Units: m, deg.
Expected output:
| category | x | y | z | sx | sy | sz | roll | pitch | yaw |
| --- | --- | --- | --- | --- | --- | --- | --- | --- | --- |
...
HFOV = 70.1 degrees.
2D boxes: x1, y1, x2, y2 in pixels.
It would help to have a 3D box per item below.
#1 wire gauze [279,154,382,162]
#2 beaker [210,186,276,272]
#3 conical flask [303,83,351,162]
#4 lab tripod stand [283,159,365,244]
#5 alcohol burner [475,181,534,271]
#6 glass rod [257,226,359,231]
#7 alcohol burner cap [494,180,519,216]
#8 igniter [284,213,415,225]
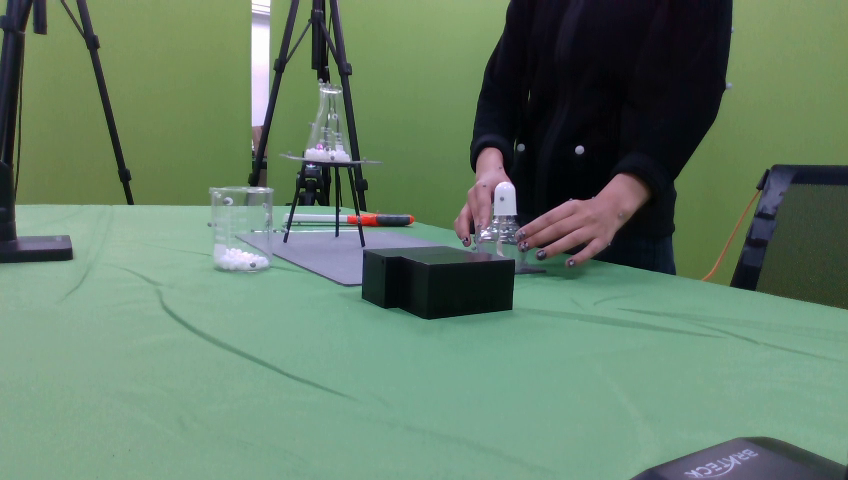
| category | x | y | z | sx | sy | sz | roll | pitch | yaw |
| --- | --- | --- | --- | --- | --- | --- | --- | --- | --- |
| wire gauze | -0.149 | -0.128 | 0.974 | 0.124 | 0.011 | 0.122 | 6 | 6 | 41 |
| beaker | -0.224 | -0.014 | 0.738 | 0.084 | 0.100 | 0.074 | 4 | 7 | 16 |
| conical flask | -0.151 | -0.186 | 0.963 | 0.075 | 0.122 | 0.075 | 4 | 6 | 0 |
| lab tripod stand | -0.151 | -0.063 | 0.983 | 0.148 | 0.131 | 0.148 | 4 | 7 | 0 |
| alcohol burner | 0.108 | -0.020 | 0.803 | 0.078 | 0.119 | 0.078 | 3 | 6 | 0 |
| glass rod | -0.216 | -0.022 | 1.151 | 0.201 | 0.008 | 0.008 | -2 | 8 | -28 |
| alcohol burner cap | 0.108 | -0.055 | 0.799 | 0.034 | 0.048 | 0.034 | -2 | 3 | 0 |
| igniter | -0.154 | -0.045 | 1.282 | 0.278 | 0.025 | 0.057 | 0 | -3 | -20 |
